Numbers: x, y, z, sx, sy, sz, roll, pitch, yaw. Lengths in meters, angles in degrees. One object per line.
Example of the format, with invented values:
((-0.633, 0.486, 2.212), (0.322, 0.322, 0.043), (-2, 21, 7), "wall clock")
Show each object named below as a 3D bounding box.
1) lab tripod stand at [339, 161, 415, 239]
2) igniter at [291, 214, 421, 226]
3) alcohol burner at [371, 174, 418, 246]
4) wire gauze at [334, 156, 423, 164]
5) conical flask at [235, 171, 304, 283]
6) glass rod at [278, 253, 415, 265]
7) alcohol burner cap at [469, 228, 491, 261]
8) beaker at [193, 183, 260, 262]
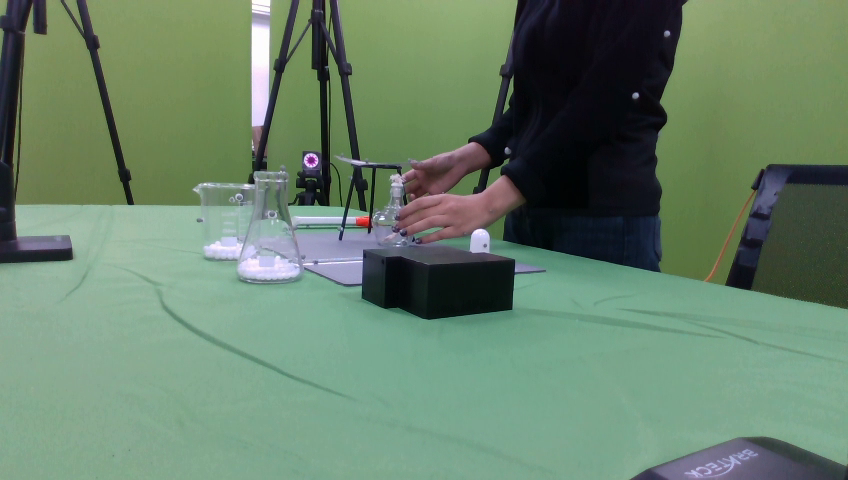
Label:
((-0.082, -0.070, 1.059), (0.148, 0.131, 0.148), (4, 6, 0), "lab tripod stand")
((-0.135, -0.041, 1.249), (0.278, 0.025, 0.057), (-1, -3, -28), "igniter")
((-0.047, -0.049, 0.987), (0.078, 0.119, 0.078), (4, 8, 0), "alcohol burner")
((-0.081, -0.137, 1.051), (0.122, 0.011, 0.124), (0, 8, -29), "wire gauze")
((-0.172, -0.016, 0.677), (0.075, 0.122, 0.075), (2, 7, 0), "conical flask")
((-0.097, 0.024, 0.805), (0.201, 0.008, 0.008), (-3, 8, -33), "glass rod")
((0.082, 0.006, 0.878), (0.034, 0.048, 0.034), (2, 7, 0), "alcohol burner cap")
((-0.262, -0.025, 0.806), (0.084, 0.100, 0.073), (-3, 9, -30), "beaker")
